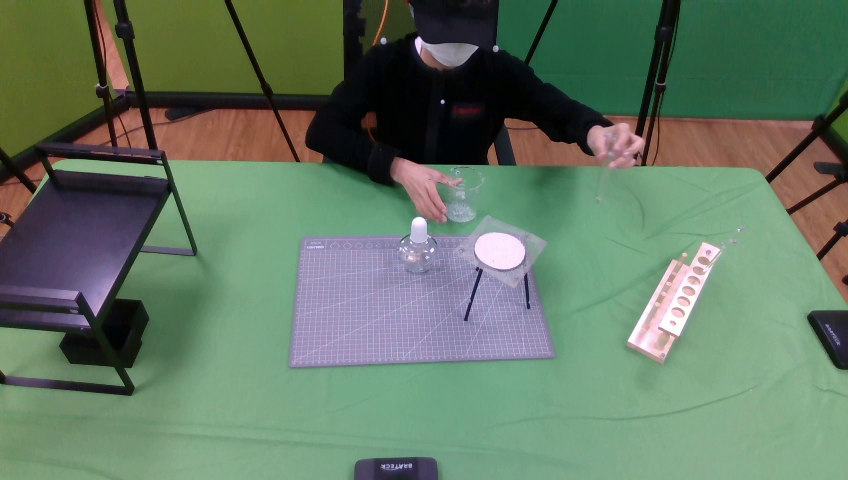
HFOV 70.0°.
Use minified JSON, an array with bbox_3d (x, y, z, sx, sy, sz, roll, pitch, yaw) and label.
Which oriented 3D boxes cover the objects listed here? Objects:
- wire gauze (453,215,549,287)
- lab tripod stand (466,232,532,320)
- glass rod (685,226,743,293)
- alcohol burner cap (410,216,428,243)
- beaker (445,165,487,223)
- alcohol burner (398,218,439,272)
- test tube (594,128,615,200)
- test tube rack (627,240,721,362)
[{"bbox_3d":[0.129,0.012,1.017,0.124,0.011,0.121,28,50,23],"label":"wire gauze"},{"bbox_3d":[0.125,0.059,1.065,0.148,0.132,0.147,1,45,0],"label":"lab tripod stand"},{"bbox_3d":[0.500,0.040,1.054,0.008,0.200,0.008,4,53,-5],"label":"glass rod"},{"bbox_3d":[-0.009,-0.022,1.099,0.034,0.048,0.033,2,41,-1],"label":"alcohol burner cap"},{"bbox_3d":[0.082,-0.091,1.236,0.084,0.101,0.073,-7,47,-12],"label":"beaker"},{"bbox_3d":[-0.010,0.004,1.123,0.078,0.120,0.077,1,47,0],"label":"alcohol burner"},{"bbox_3d":[0.313,-0.129,1.056,0.017,0.151,0.017,-2,45,3],"label":"test tube"},{"bbox_3d":[0.452,0.098,1.087,0.066,0.085,0.242,28,51,22],"label":"test tube rack"}]
